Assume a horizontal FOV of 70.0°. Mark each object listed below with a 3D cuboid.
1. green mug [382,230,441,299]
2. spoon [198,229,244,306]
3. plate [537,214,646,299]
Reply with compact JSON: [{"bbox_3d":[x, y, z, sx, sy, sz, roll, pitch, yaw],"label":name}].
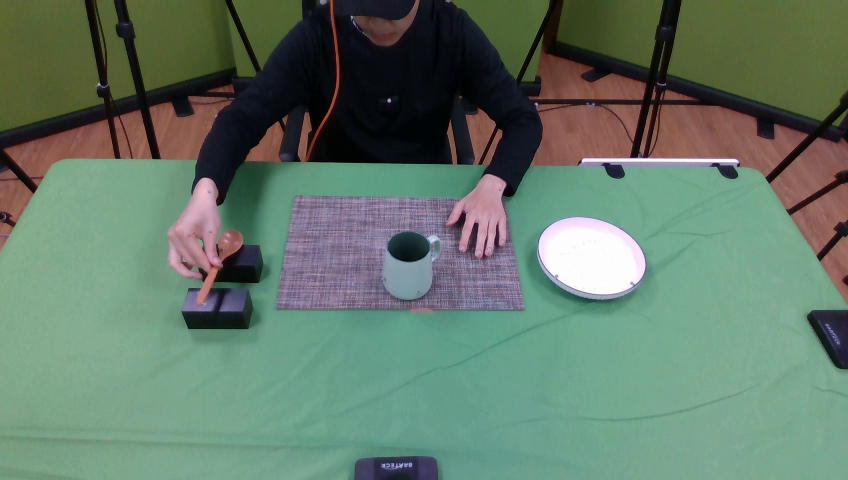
[{"bbox_3d":[-0.017,0.037,1.097,0.125,0.105,0.092,-34,57,-31],"label":"green mug"},{"bbox_3d":[-0.353,0.042,1.041,0.042,0.022,0.192,18,34,-9],"label":"spoon"},{"bbox_3d":[0.321,0.035,1.176,0.209,0.038,0.208,2,47,-2],"label":"plate"}]
